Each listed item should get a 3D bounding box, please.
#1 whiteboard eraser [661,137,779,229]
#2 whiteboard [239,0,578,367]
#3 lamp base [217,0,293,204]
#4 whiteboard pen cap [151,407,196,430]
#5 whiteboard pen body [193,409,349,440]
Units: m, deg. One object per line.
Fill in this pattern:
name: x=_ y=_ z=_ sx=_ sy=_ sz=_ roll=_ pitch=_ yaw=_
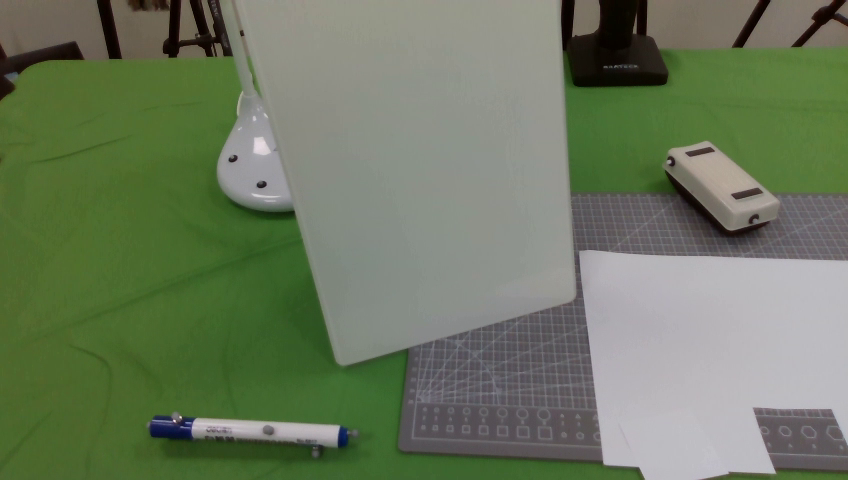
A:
whiteboard eraser: x=0.290 y=-0.057 z=0.603 sx=0.056 sy=0.042 sz=0.111 roll=-16 pitch=46 yaw=-10
whiteboard: x=-0.007 y=-0.084 z=0.509 sx=0.217 sy=0.308 sz=0.142 roll=-14 pitch=26 yaw=-9
lamp base: x=-0.166 y=-0.155 z=0.641 sx=0.160 sy=0.182 sz=0.177 roll=-35 pitch=50 yaw=-28
whiteboard pen cap: x=-0.185 y=0.134 z=0.454 sx=0.033 sy=0.018 sz=0.018 roll=1 pitch=45 yaw=2
whiteboard pen body: x=-0.126 y=0.136 z=0.450 sx=0.141 sy=0.017 sz=0.017 roll=2 pitch=45 yaw=4
